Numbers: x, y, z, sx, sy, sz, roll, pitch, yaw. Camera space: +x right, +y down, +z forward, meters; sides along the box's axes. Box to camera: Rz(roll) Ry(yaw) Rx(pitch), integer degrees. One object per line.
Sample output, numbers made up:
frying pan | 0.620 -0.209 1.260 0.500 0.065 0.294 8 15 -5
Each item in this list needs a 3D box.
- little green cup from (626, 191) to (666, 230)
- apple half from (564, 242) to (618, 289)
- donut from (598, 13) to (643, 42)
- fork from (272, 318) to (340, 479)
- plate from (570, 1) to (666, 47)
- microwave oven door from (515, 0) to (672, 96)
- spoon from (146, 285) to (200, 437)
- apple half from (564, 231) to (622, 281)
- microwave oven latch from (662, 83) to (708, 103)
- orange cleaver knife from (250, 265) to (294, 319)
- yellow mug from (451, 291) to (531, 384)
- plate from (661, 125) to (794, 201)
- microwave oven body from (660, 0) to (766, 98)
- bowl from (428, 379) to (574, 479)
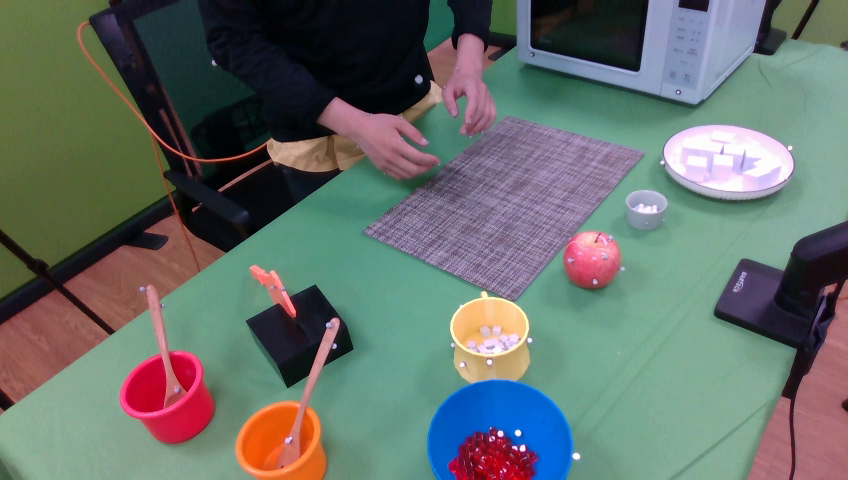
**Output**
little green cup | 0.352 -0.046 0.963 0.061 0.039 0.061 -4 40 4
apple half | 0.229 0.044 0.848 0.081 0.081 0.033 16 41 26
donut | 0.438 -0.474 1.346 0.099 0.048 0.098 -17 23 8
fork | -0.131 0.186 0.676 0.028 0.019 0.207 17 90 28
plate | 0.437 -0.485 1.370 0.209 0.038 0.208 -4 41 4
microwave oven door | 0.344 -0.455 1.260 0.353 0.245 0.039 26 51 33
spoon | -0.318 0.148 0.754 0.042 0.021 0.193 -15 85 -10
apple half | 0.248 0.021 0.874 0.080 0.075 0.053 13 40 29
microwave oven latch | 0.518 -0.296 1.204 0.078 0.029 0.030 27 52 35
orange cleaver knife | -0.221 0.073 0.876 0.012 0.077 0.210 -24 12 -22
yellow mug | 0.085 0.120 0.786 0.100 0.064 0.130 -7 39 1
plate | 0.513 -0.128 1.035 0.207 0.039 0.206 -4 40 4
microwave oven body | 0.472 -0.513 1.317 0.438 0.261 0.327 26 51 34
bowl | 0.082 0.233 0.644 0.151 0.077 0.150 -4 40 4
